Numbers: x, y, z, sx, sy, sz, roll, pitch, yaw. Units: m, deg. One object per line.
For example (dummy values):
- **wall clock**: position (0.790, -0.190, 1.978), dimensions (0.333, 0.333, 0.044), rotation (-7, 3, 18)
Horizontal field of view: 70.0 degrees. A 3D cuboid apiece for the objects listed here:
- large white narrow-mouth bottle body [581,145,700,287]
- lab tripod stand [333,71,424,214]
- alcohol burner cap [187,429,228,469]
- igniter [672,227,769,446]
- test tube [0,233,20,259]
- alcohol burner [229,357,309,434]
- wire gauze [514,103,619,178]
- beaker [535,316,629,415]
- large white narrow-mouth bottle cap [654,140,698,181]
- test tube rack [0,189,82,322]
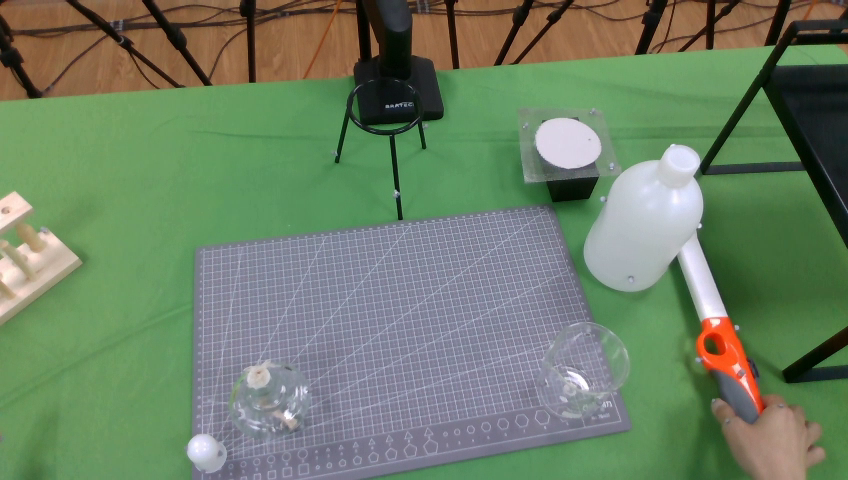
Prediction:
- **large white narrow-mouth bottle body**: position (0.245, -0.032, 0.674), dimensions (0.102, 0.196, 0.101), rotation (1, 58, -2)
- **lab tripod stand**: position (-0.047, -0.126, 0.751), dimensions (0.148, 0.132, 0.147), rotation (2, 59, -4)
- **alcohol burner cap**: position (-0.212, 0.202, 0.590), dimensions (0.034, 0.048, 0.033), rotation (1, 58, -2)
- **igniter**: position (0.327, 0.094, 0.688), dimensions (0.057, 0.025, 0.273), rotation (-3, 55, -1)
- **test tube**: position (-0.471, -0.020, 0.631), dimensions (0.017, 0.151, 0.017), rotation (0, 60, 1)
- **alcohol burner**: position (-0.152, 0.144, 0.586), dimensions (0.078, 0.120, 0.077), rotation (3, 57, -4)
- **wire gauze**: position (0.181, -0.132, 0.783), dimensions (0.121, 0.011, 0.124), rotation (-1, 58, -4)
- **beaker**: position (0.153, 0.133, 0.619), dimensions (0.084, 0.101, 0.073), rotation (-3, 58, -3)
- **large white narrow-mouth bottle cap**: position (0.249, -0.080, 0.601), dimensions (0.038, 0.024, 0.037), rotation (1, 58, -2)
- **test tube rack**: position (-0.502, 0.061, 0.637), dimensions (0.066, 0.086, 0.242), rotation (36, 63, 17)
